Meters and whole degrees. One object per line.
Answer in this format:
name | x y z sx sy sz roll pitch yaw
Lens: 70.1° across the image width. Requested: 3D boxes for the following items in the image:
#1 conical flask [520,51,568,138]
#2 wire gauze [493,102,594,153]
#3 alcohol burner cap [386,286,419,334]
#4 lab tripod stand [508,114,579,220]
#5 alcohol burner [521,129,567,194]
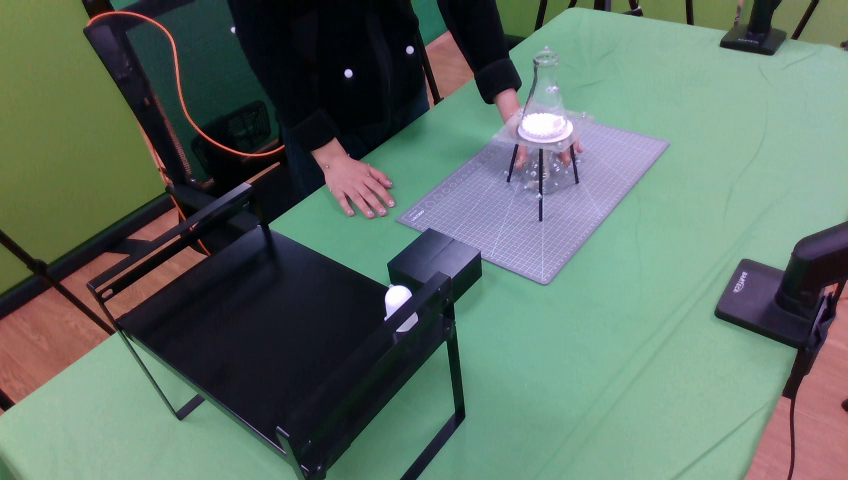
conical flask | 0.185 -0.223 0.926 0.075 0.122 0.075 -4 41 4
wire gauze | 0.191 -0.179 0.965 0.120 0.011 0.125 18 49 29
alcohol burner cap | -0.024 0.067 0.604 0.034 0.048 0.033 -4 40 4
lab tripod stand | 0.199 -0.127 1.005 0.148 0.132 0.147 -3 42 3
alcohol burner | 0.203 -0.138 1.030 0.078 0.120 0.077 -7 41 7
